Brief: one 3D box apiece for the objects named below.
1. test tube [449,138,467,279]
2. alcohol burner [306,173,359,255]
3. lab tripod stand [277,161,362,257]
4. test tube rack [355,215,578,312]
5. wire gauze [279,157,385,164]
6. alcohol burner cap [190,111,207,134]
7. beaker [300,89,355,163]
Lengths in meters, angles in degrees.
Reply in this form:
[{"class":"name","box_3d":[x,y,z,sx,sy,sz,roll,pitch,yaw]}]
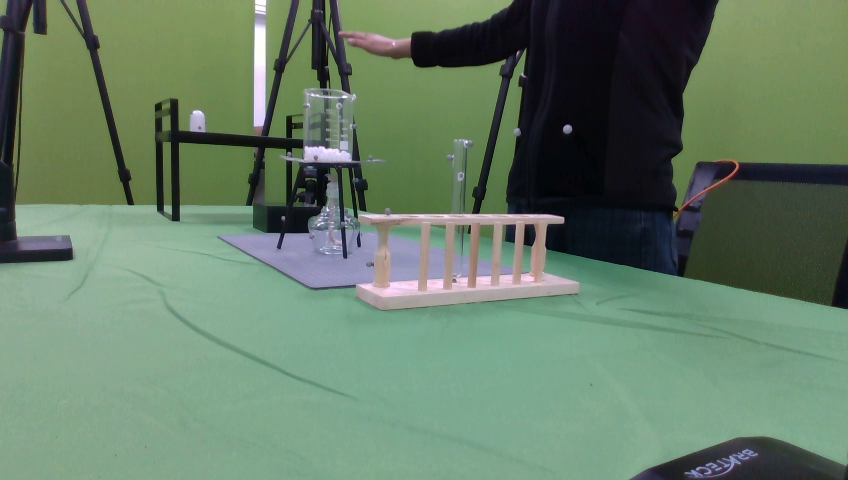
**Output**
[{"class":"test tube","box_3d":[0.035,-0.033,0.645,0.017,0.150,0.017,3,4,0]},{"class":"alcohol burner","box_3d":[-0.133,-0.038,0.883,0.078,0.119,0.078,1,6,0]},{"class":"lab tripod stand","box_3d":[-0.143,-0.049,0.884,0.148,0.131,0.148,1,9,0]},{"class":"test tube rack","box_3d":[0.053,0.019,0.640,0.243,0.085,0.066,-1,8,-29]},{"class":"wire gauze","box_3d":[-0.134,-0.113,0.875,0.122,0.011,0.124,-1,6,-30]},{"class":"alcohol burner cap","box_3d":[-0.469,-0.244,1.257,0.034,0.048,0.034,1,6,0]},{"class":"beaker","box_3d":[-0.136,-0.161,0.867,0.083,0.100,0.074,5,8,24]}]
